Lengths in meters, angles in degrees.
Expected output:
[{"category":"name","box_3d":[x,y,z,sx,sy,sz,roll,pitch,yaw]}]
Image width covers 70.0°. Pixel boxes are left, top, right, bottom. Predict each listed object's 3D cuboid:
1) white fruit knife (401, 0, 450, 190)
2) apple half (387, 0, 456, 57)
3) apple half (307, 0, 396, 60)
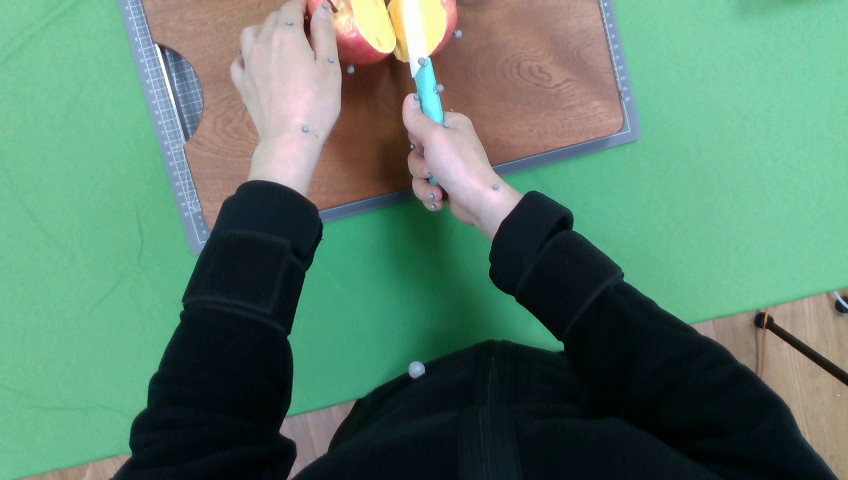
[{"category":"white fruit knife","box_3d":[-0.003,-0.146,0.511,0.027,0.016,0.207,-11,87,45]},{"category":"apple half","box_3d":[0.002,-0.195,0.523,0.033,0.080,0.081,-5,97,-41]},{"category":"apple half","box_3d":[-0.066,-0.189,0.513,0.053,0.074,0.081,-19,97,27]}]
